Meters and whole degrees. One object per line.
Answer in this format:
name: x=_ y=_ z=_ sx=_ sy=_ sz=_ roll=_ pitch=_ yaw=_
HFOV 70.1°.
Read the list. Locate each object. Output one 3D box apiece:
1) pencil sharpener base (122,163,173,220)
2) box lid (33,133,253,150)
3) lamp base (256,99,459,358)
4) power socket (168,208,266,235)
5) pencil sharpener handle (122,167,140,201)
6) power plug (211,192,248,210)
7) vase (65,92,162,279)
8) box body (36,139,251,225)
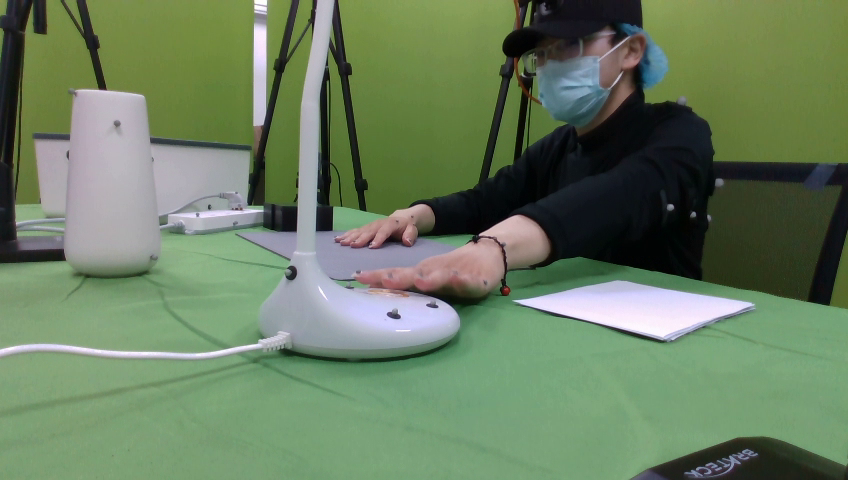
pencil sharpener base: x=-0.539 y=-0.095 z=1.174 sx=0.076 sy=0.107 sz=0.061 roll=4 pitch=7 yaw=21
box lid: x=-0.555 y=-0.199 z=1.249 sx=0.263 sy=0.015 sz=0.372 roll=5 pitch=8 yaw=15
lamp base: x=-0.055 y=-0.013 z=0.463 sx=0.160 sy=0.180 sz=0.180 roll=6 pitch=11 yaw=27
power socket: x=-0.379 y=-0.038 z=1.129 sx=0.072 sy=0.032 sz=0.227 roll=4 pitch=8 yaw=18
pencil sharpener handle: x=-0.585 y=-0.111 z=1.193 sx=0.030 sy=0.068 sz=0.036 roll=4 pitch=14 yaw=21
power plug: x=-0.384 y=-0.071 z=1.205 sx=0.072 sy=0.052 sz=0.035 roll=1 pitch=8 yaw=28
vase: x=-0.347 y=-0.060 z=0.673 sx=0.098 sy=0.200 sz=0.098 roll=1 pitch=7 yaw=0
box body: x=-0.558 y=-0.126 z=1.257 sx=0.253 sy=0.160 sz=0.365 roll=4 pitch=8 yaw=15
